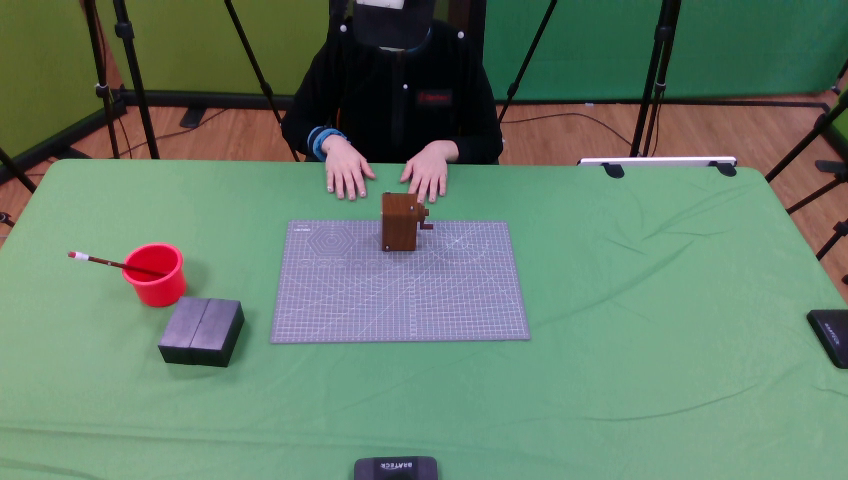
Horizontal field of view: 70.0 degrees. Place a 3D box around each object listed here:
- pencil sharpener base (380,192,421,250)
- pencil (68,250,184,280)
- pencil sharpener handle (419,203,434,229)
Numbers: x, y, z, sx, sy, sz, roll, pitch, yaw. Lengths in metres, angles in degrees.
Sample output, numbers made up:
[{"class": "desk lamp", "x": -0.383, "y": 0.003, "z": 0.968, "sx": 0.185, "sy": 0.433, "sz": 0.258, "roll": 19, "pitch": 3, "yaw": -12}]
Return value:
[{"class": "pencil sharpener base", "x": -0.046, "y": -0.035, "z": 1.163, "sx": 0.077, "sy": 0.107, "sz": 0.061, "roll": 0, "pitch": 46, "yaw": -4}, {"class": "pencil", "x": -0.498, "y": 0.046, "z": 1.026, "sx": 0.195, "sy": 0.012, "sz": 0.012, "roll": 21, "pitch": 29, "yaw": -45}, {"class": "pencil sharpener handle", "x": 0.006, "y": -0.045, "z": 1.160, "sx": 0.031, "sy": 0.068, "sz": 0.036, "roll": 0, "pitch": 52, "yaw": -4}]
